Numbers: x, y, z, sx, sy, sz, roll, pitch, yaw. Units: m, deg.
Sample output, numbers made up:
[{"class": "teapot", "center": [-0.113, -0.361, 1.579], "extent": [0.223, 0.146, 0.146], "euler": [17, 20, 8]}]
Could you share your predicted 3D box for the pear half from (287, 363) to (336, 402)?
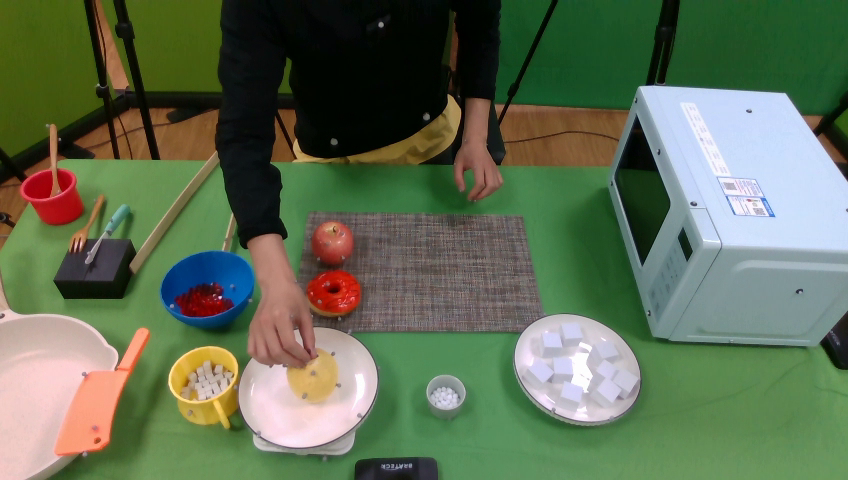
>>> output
[{"class": "pear half", "center": [-0.162, 0.214, 0.880], "extent": [0.070, 0.088, 0.031], "euler": [-7, 50, -13]}]

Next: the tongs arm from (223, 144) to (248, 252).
[{"class": "tongs arm", "center": [-0.398, -0.073, 1.232], "extent": [0.051, 0.027, 0.382], "euler": [-2, 45, 0]}]

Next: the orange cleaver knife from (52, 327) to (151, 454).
[{"class": "orange cleaver knife", "center": [-0.462, 0.212, 0.879], "extent": [0.077, 0.012, 0.210], "euler": [7, 45, -2]}]

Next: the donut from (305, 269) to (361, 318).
[{"class": "donut", "center": [-0.160, 0.095, 1.075], "extent": [0.099, 0.048, 0.098], "euler": [4, 45, -4]}]

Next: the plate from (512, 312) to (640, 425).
[{"class": "plate", "center": [0.246, 0.213, 0.999], "extent": [0.208, 0.039, 0.206], "euler": [2, 46, -2]}]

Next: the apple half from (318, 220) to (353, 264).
[{"class": "apple half", "center": [-0.162, 0.001, 1.144], "extent": [0.053, 0.075, 0.080], "euler": [-25, 50, -29]}]

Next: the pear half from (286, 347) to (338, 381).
[{"class": "pear half", "center": [-0.167, 0.181, 0.896], "extent": [0.076, 0.110, 0.055], "euler": [-5, 51, -12]}]

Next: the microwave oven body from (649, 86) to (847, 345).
[{"class": "microwave oven body", "center": [0.567, -0.053, 1.118], "extent": [0.326, 0.261, 0.439], "euler": [2, 45, -1]}]

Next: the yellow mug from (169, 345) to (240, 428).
[{"class": "yellow mug", "center": [-0.322, 0.230, 0.922], "extent": [0.100, 0.064, 0.130], "euler": [-24, 53, -25]}]

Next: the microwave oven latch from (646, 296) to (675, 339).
[{"class": "microwave oven latch", "center": [0.412, 0.134, 1.061], "extent": [0.030, 0.029, 0.078], "euler": [4, 45, 1]}]

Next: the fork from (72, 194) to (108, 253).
[{"class": "fork", "center": [-0.634, -0.036, 1.158], "extent": [0.028, 0.019, 0.206], "euler": [-7, 32, -9]}]

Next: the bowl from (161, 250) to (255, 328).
[{"class": "bowl", "center": [-0.362, 0.098, 1.040], "extent": [0.151, 0.077, 0.150], "euler": [2, 45, -2]}]

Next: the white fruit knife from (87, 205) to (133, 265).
[{"class": "white fruit knife", "center": [-0.584, -0.013, 1.129], "extent": [0.016, 0.027, 0.206], "euler": [0, 31, -5]}]

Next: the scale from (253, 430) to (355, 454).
[{"class": "scale", "center": [-0.175, 0.236, 0.951], "extent": [0.149, 0.032, 0.199], "euler": [4, 45, 0]}]

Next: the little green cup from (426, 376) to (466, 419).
[{"class": "little green cup", "center": [0.033, 0.248, 0.950], "extent": [0.061, 0.039, 0.061], "euler": [2, 46, -2]}]

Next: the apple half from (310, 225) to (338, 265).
[{"class": "apple half", "center": [-0.192, 0.017, 1.125], "extent": [0.033, 0.081, 0.081], "euler": [-26, 53, -31]}]

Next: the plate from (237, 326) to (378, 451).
[{"class": "plate", "center": [-0.173, 0.224, 0.917], "extent": [0.209, 0.038, 0.208], "euler": [2, 46, -2]}]

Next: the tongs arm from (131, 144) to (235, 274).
[{"class": "tongs arm", "center": [-0.484, -0.076, 1.235], "extent": [0.028, 0.028, 0.385], "euler": [6, 45, 13]}]

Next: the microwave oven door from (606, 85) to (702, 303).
[{"class": "microwave oven door", "center": [0.422, -0.094, 1.140], "extent": [0.039, 0.245, 0.353], "euler": [2, 46, -1]}]

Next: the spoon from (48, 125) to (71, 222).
[{"class": "spoon", "center": [-0.718, -0.131, 1.188], "extent": [0.041, 0.021, 0.193], "euler": [-3, 90, -6]}]

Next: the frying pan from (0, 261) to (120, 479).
[{"class": "frying pan", "center": [-0.647, 0.164, 0.936], "extent": [0.307, 0.103, 0.485], "euler": [-19, 58, -22]}]
